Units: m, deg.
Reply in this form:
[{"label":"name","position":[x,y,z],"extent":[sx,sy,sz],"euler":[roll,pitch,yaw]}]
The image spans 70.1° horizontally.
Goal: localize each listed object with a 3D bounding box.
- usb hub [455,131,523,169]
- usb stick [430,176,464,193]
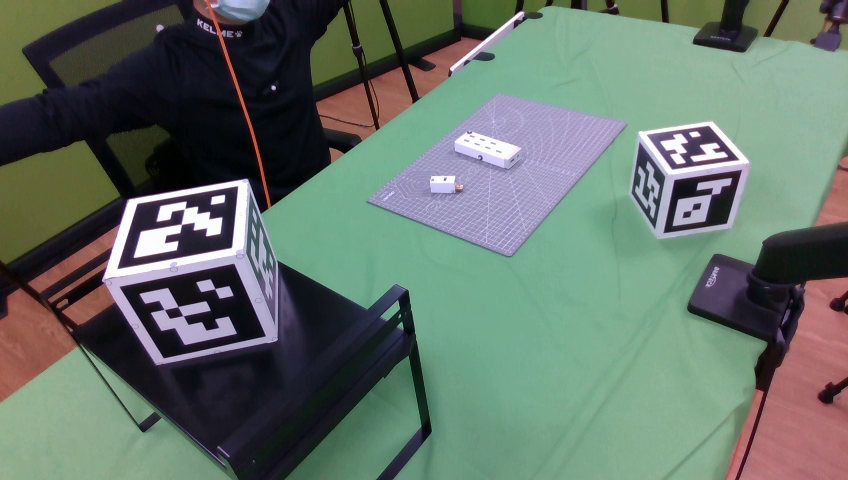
[{"label":"usb hub","position":[0.122,-0.172,1.146],"extent":[0.124,0.025,0.049],"euler":[25,50,32]},{"label":"usb stick","position":[0.042,-0.098,1.071],"extent":[0.059,0.027,0.021],"euler":[4,40,9]}]
